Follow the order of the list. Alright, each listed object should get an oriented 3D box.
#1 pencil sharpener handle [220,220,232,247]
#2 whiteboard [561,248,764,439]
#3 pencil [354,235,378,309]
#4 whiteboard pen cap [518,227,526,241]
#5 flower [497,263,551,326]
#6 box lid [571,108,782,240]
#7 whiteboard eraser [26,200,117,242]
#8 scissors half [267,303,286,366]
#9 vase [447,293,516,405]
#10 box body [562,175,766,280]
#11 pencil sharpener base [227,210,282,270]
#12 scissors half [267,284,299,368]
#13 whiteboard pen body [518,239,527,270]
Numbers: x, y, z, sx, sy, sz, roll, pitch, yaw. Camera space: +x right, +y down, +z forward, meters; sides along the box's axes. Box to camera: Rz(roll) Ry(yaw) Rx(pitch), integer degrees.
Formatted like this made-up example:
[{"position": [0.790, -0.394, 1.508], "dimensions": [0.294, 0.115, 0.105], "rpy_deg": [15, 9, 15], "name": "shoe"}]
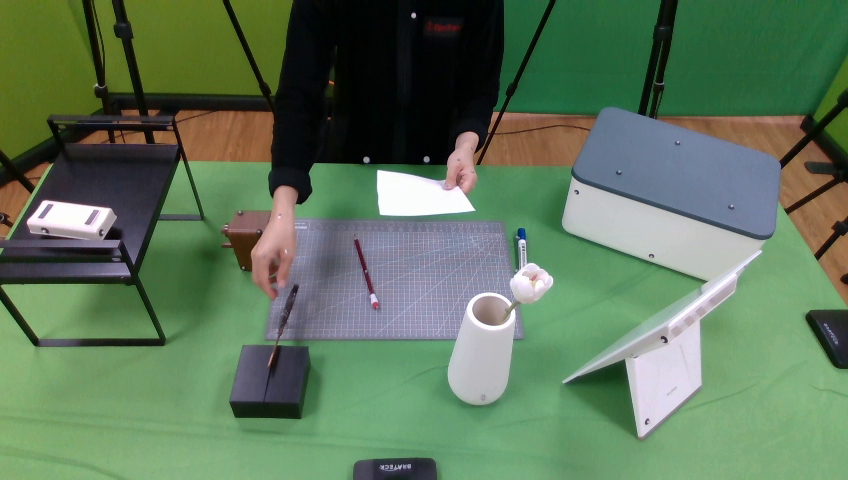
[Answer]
[{"position": [-0.362, -0.009, 1.105], "dimensions": [0.030, 0.068, 0.036], "rpy_deg": [0, 53, 1], "name": "pencil sharpener handle"}, {"position": [0.386, 0.176, 0.905], "dimensions": [0.217, 0.306, 0.143], "rpy_deg": [-26, 72, -27], "name": "whiteboard"}, {"position": [-0.112, 0.055, 1.143], "dimensions": [0.012, 0.012, 0.192], "rpy_deg": [-10, 46, -13], "name": "pencil"}, {"position": [0.197, -0.009, 1.219], "dimensions": [0.018, 0.018, 0.033], "rpy_deg": [6, 52, 2], "name": "whiteboard pen cap"}, {"position": [0.103, 0.121, 0.852], "dimensions": [0.044, 0.363, 0.038], "rpy_deg": [-1, 64, -9], "name": "flower"}, {"position": [0.491, -0.139, 1.168], "dimensions": [0.370, 0.015, 0.262], "rpy_deg": [21, 49, 15], "name": "box lid"}, {"position": [-0.532, -0.026, 0.919], "dimensions": [0.113, 0.042, 0.055], "rpy_deg": [7, 45, 3], "name": "whiteboard eraser"}, {"position": [-0.239, 0.150, 0.996], "dimensions": [0.013, 0.040, 0.174], "rpy_deg": [24, 24, -12], "name": "scissors half"}, {"position": [0.091, 0.169, 0.921], "dimensions": [0.098, 0.201, 0.097], "rpy_deg": [3, 47, -3], "name": "vase"}, {"position": [0.486, -0.088, 1.222], "dimensions": [0.363, 0.161, 0.253], "rpy_deg": [20, 48, 15], "name": "box body"}, {"position": [-0.311, 0.001, 1.112], "dimensions": [0.077, 0.107, 0.061], "rpy_deg": [0, 47, 1], "name": "pencil sharpener base"}, {"position": [-0.230, 0.135, 0.986], "dimensions": [0.013, 0.040, 0.174], "rpy_deg": [19, 43, -10], "name": "scissors half"}, {"position": [0.193, 0.035, 1.181], "dimensions": [0.017, 0.017, 0.140], "rpy_deg": [6, 48, 1], "name": "whiteboard pen body"}]
